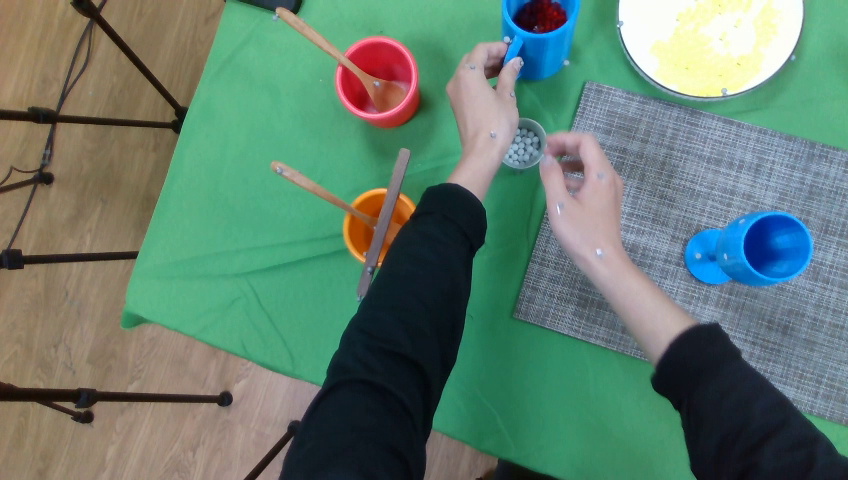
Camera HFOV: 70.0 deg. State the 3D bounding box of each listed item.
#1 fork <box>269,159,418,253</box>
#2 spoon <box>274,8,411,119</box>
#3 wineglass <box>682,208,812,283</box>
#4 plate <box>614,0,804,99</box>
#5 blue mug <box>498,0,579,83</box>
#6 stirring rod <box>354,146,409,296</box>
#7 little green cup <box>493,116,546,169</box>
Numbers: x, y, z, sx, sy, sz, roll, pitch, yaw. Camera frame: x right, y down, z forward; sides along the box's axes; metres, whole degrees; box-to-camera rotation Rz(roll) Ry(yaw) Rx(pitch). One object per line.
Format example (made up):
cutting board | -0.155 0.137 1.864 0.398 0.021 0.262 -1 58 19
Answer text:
fork | -0.087 -0.037 0.694 0.209 0.018 0.028 31 97 -36
spoon | -0.090 -0.206 0.706 0.196 0.021 0.041 33 92 -35
wineglass | 0.324 0.009 0.624 0.073 0.173 0.073 -1 86 7
plate | 0.327 -0.265 0.712 0.209 0.038 0.209 0 87 7
blue mug | 0.120 -0.232 0.694 0.082 0.106 0.116 35 88 11
stirring rod | -0.048 -0.022 0.685 0.014 0.006 0.176 17 89 9
little green cup | 0.115 -0.115 0.729 0.061 0.039 0.061 0 86 7
